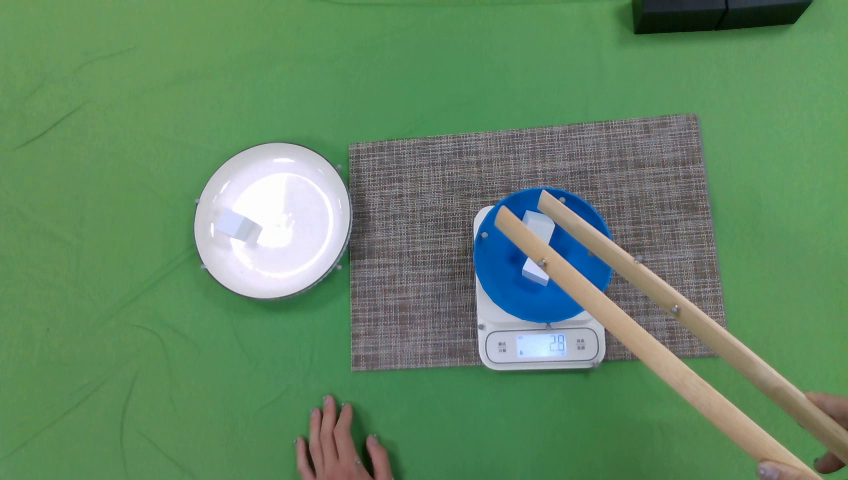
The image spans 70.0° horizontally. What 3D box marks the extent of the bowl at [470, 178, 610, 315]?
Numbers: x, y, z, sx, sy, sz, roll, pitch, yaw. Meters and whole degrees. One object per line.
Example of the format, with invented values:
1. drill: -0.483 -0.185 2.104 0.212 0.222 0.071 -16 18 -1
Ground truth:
1. bowl: 0.128 0.013 0.684 0.151 0.077 0.150 -1 79 5

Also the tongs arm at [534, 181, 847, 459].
1. tongs arm: 0.218 0.072 0.499 0.051 0.027 0.381 -24 54 -36

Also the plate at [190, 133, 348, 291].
1. plate: -0.197 -0.035 0.786 0.207 0.039 0.206 -1 79 6

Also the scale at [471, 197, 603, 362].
1. scale: 0.134 0.043 0.731 0.148 0.032 0.200 -3 79 6

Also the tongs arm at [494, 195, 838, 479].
1. tongs arm: 0.191 0.082 0.480 0.028 0.028 0.384 -20 52 -38
